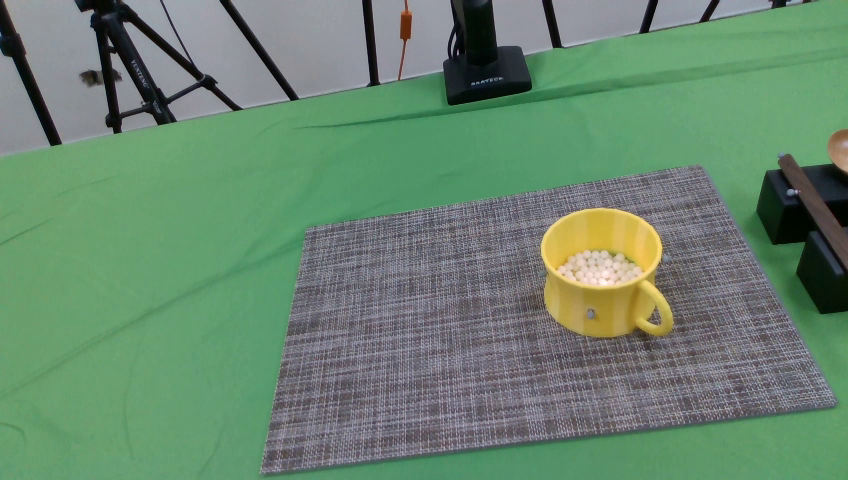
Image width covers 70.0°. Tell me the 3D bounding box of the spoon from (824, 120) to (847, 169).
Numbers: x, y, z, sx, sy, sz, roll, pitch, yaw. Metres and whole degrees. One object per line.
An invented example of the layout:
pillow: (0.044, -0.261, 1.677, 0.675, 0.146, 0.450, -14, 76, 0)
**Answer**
spoon: (0.389, -0.034, 0.501, 0.041, 0.022, 0.191, -8, 46, 5)

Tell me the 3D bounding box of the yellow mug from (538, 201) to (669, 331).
yellow mug: (0.162, 0.029, 0.530, 0.100, 0.064, 0.129, -31, 47, -16)

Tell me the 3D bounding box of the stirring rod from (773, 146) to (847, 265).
stirring rod: (0.334, -0.025, 0.509, 0.014, 0.006, 0.174, -39, 32, 32)
